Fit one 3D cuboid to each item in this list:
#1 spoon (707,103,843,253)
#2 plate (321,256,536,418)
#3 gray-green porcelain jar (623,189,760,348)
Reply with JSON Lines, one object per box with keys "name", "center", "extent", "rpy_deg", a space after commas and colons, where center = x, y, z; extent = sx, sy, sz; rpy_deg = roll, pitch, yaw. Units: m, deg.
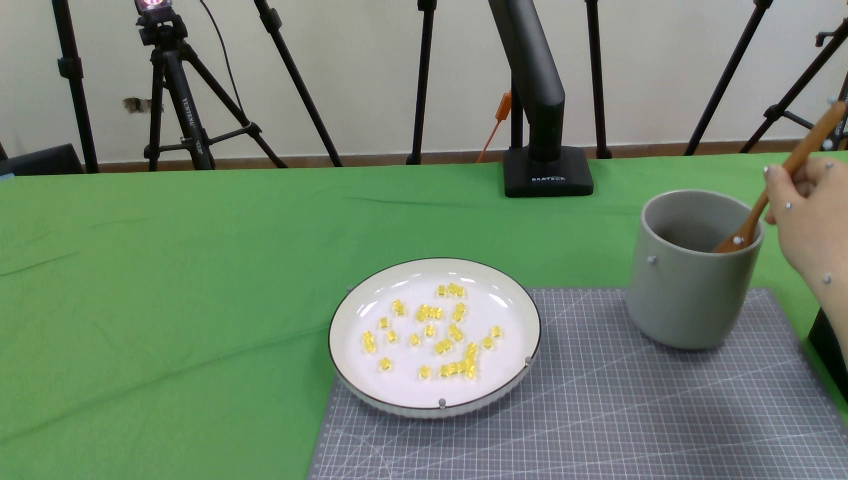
{"name": "spoon", "center": [0.282, -0.030, 0.504], "extent": [0.021, 0.195, 0.041], "rpy_deg": [8, 46, -2]}
{"name": "plate", "center": [0.005, 0.095, 0.600], "extent": [0.207, 0.039, 0.205], "rpy_deg": [-3, 37, 2]}
{"name": "gray-green porcelain jar", "center": [0.250, 0.032, 0.582], "extent": [0.106, 0.127, 0.105], "rpy_deg": [-3, 37, 3]}
